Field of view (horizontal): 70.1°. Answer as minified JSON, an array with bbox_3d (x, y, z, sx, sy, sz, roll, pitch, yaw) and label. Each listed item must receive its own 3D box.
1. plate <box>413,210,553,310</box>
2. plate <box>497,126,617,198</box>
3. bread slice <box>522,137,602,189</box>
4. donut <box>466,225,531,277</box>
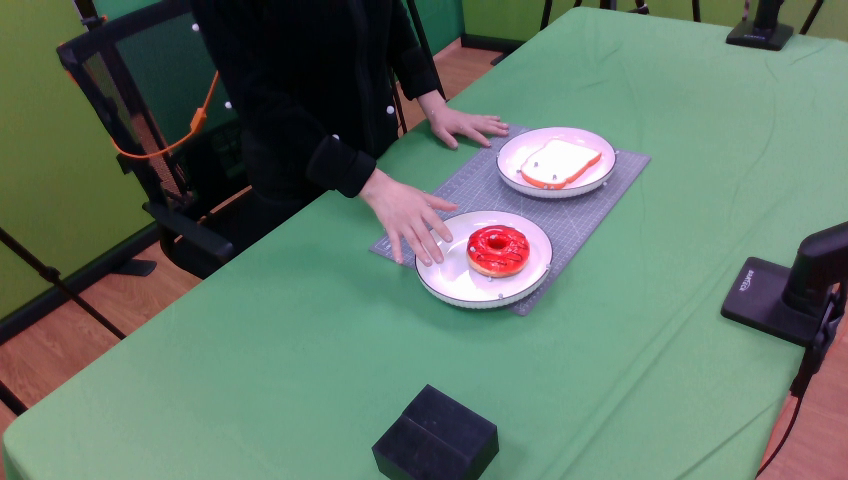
[{"bbox_3d":[0.089,0.033,0.914,0.207,0.039,0.206,-5,40,5],"label":"plate"},{"bbox_3d":[0.236,-0.136,1.085,0.209,0.038,0.208,-5,40,5],"label":"plate"},{"bbox_3d":[0.242,-0.136,1.085,0.106,0.018,0.134,23,51,34],"label":"bread slice"},{"bbox_3d":[0.112,0.017,0.910,0.099,0.048,0.098,-2,41,2],"label":"donut"}]
